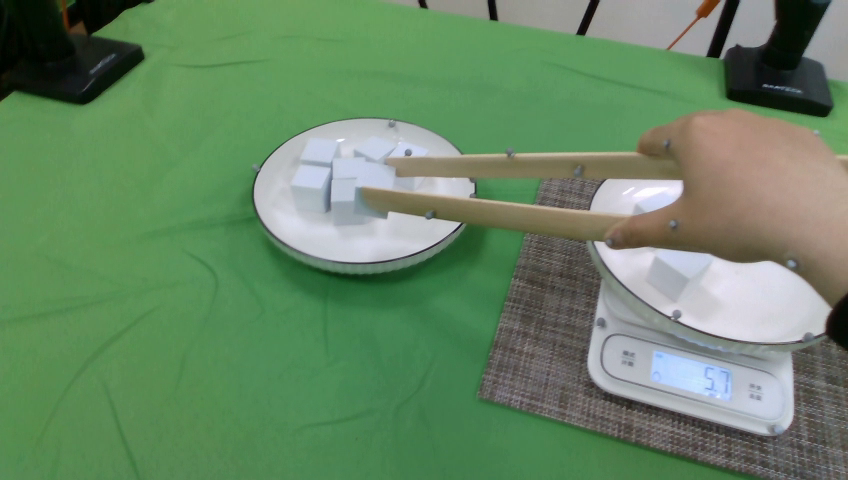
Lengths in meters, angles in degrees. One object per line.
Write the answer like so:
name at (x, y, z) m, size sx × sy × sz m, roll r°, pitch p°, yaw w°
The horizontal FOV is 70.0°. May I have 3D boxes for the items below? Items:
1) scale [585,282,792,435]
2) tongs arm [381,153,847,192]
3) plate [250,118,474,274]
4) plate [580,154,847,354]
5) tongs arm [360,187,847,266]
scale at (0.220, 0.051, 0.499) m, size 0.148 × 0.032 × 0.199 m, roll 14°, pitch 48°, yaw 12°
tongs arm at (0.124, -0.035, 0.403) m, size 0.382 × 0.027 × 0.050 m, roll 4°, pitch 50°, yaw 31°
plate at (-0.057, -0.042, 0.578) m, size 0.209 × 0.038 × 0.207 m, roll 2°, pitch 46°, yaw -1°
plate at (0.228, 0.009, 0.495) m, size 0.208 × 0.039 × 0.205 m, roll 2°, pitch 47°, yaw -2°
tongs arm at (0.112, -0.016, 0.390) m, size 0.385 × 0.028 × 0.028 m, roll 7°, pitch 49°, yaw 33°
